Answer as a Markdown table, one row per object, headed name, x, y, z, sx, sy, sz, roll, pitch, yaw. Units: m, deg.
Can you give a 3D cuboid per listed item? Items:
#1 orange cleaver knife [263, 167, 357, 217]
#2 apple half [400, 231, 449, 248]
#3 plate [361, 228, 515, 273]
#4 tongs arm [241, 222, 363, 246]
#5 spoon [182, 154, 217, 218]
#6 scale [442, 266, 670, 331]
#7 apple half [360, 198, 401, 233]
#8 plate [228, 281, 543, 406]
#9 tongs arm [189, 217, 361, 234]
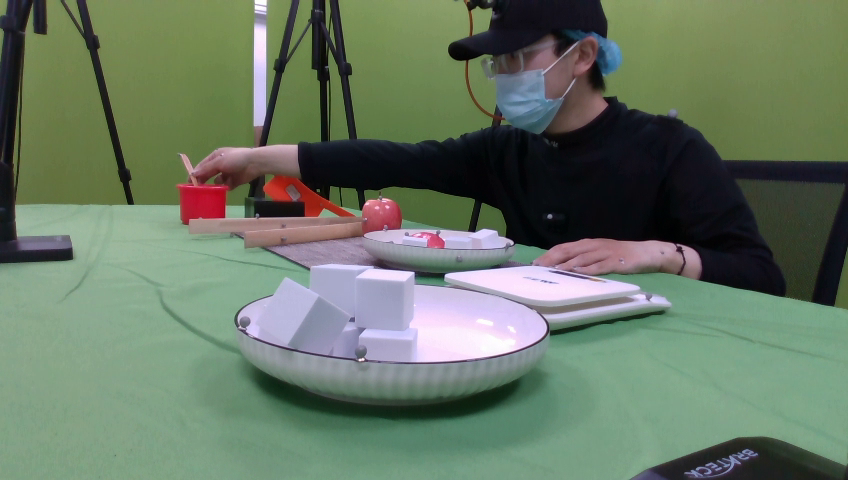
| name | x | y | z | sx | sy | sz | roll | pitch | yaw |
| --- | --- | --- | --- | --- | --- | --- | --- | --- | --- |
| orange cleaver knife | -0.241 | -0.078 | 1.296 | 0.212 | 0.077 | 0.012 | 32 | -11 | -26 |
| apple half | 0.003 | 0.005 | 0.843 | 0.081 | 0.033 | 0.081 | 1 | 4 | 0 |
| plate | 0.018 | 0.013 | 0.818 | 0.209 | 0.038 | 0.209 | 2 | 7 | 0 |
| tongs arm | -0.159 | -0.017 | 1.033 | 0.028 | 0.028 | 0.389 | 2 | 5 | 33 |
| spoon | -0.455 | -0.107 | 1.212 | 0.042 | 0.021 | 0.193 | -6 | 55 | -35 |
| scale | 0.131 | 0.052 | 0.603 | 0.202 | 0.031 | 0.148 | -2 | 9 | -37 |
| apple half | -0.066 | -0.032 | 1.014 | 0.053 | 0.074 | 0.081 | 9 | 6 | 20 |
| plate | -0.025 | 0.067 | 0.413 | 0.208 | 0.039 | 0.207 | 3 | 7 | 0 |
| tongs arm | -0.220 | -0.027 | 1.088 | 0.387 | 0.026 | 0.050 | -3 | 8 | -43 |
